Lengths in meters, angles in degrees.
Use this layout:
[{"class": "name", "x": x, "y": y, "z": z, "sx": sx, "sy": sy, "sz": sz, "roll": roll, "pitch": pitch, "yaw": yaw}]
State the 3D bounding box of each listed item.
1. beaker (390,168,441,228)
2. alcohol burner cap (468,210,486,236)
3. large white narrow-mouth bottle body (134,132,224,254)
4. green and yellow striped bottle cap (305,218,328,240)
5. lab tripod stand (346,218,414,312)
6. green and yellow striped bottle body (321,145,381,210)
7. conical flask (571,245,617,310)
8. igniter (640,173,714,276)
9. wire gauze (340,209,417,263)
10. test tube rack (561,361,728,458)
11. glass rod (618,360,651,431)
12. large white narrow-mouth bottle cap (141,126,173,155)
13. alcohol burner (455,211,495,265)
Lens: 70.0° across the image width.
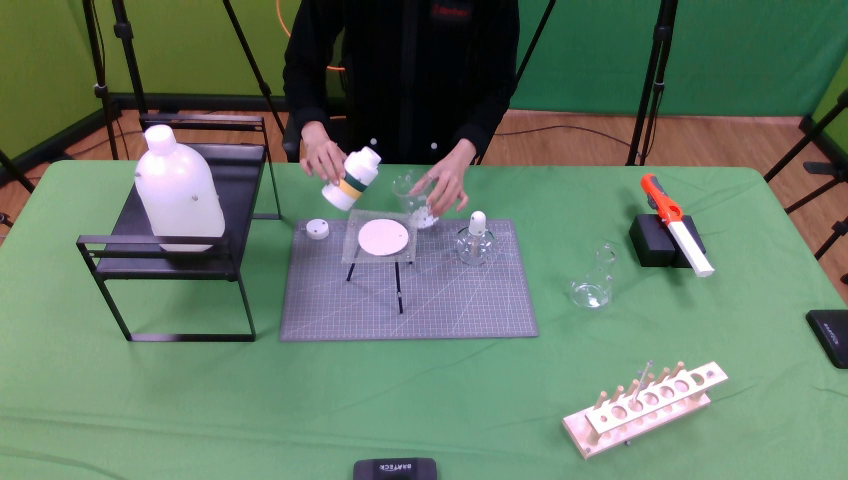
[{"class": "beaker", "x": -0.011, "y": -0.080, "z": 1.170, "sx": 0.084, "sy": 0.101, "sz": 0.073, "roll": -18, "pitch": 44, "yaw": 5}, {"class": "alcohol burner cap", "x": 0.100, "y": -0.034, "z": 1.119, "sx": 0.034, "sy": 0.048, "sz": 0.033, "roll": 0, "pitch": 52, "yaw": 0}, {"class": "large white narrow-mouth bottle body", "x": -0.358, "y": -0.075, "z": 0.875, "sx": 0.102, "sy": 0.195, "sz": 0.101, "roll": 1, "pitch": 48, "yaw": -1}, {"class": "green and yellow striped bottle cap", "x": -0.214, "y": -0.022, "z": 1.203, "sx": 0.045, "sy": 0.020, "sz": 0.045, "roll": 4, "pitch": 46, "yaw": -4}, {"class": "lab tripod stand", "x": -0.070, "y": 0.037, "z": 1.075, "sx": 0.148, "sy": 0.132, "sz": 0.147, "roll": 1, "pitch": 48, "yaw": -1}, {"class": "green and yellow striped bottle body", "x": -0.132, "y": -0.119, "z": 1.125, "sx": 0.120, "sy": 0.063, "sz": 0.063, "roll": -48, "pitch": 56, "yaw": 10}, {"class": "conical flask", "x": 0.313, "y": 0.064, "z": 1.089, "sx": 0.075, "sy": 0.122, "sz": 0.075, "roll": 2, "pitch": 46, "yaw": -2}, {"class": "igniter", "x": 0.495, "y": -0.039, "z": 1.204, "sx": 0.057, "sy": 0.025, "sz": 0.274, "roll": -2, "pitch": 47, "yaw": -12}, {"class": "wire gauze", "x": -0.074, "y": -0.007, "z": 1.023, "sx": 0.121, "sy": 0.011, "sz": 0.124, "roll": 3, "pitch": 46, "yaw": 0}, {"class": "test tube rack", "x": 0.341, "y": 0.248, "z": 0.940, "sx": 0.243, "sy": 0.085, "sz": 0.066, "roll": -15, "pitch": 49, "yaw": -18}, {"class": "glass rod", "x": 0.298, "y": 0.227, "z": 0.865, "sx": 0.008, "sy": 0.201, "sz": 0.008, "roll": -2, "pitch": 48, "yaw": 2}, {"class": "large white narrow-mouth bottle cap", "x": -0.356, "y": -0.133, "z": 0.810, "sx": 0.038, "sy": 0.024, "sz": 0.037, "roll": 2, "pitch": 48, "yaw": -1}, {"class": "alcohol burner", "x": 0.098, "y": -0.010, "z": 1.147, "sx": 0.078, "sy": 0.120, "sz": 0.077, "roll": 1, "pitch": 47, "yaw": -1}]
